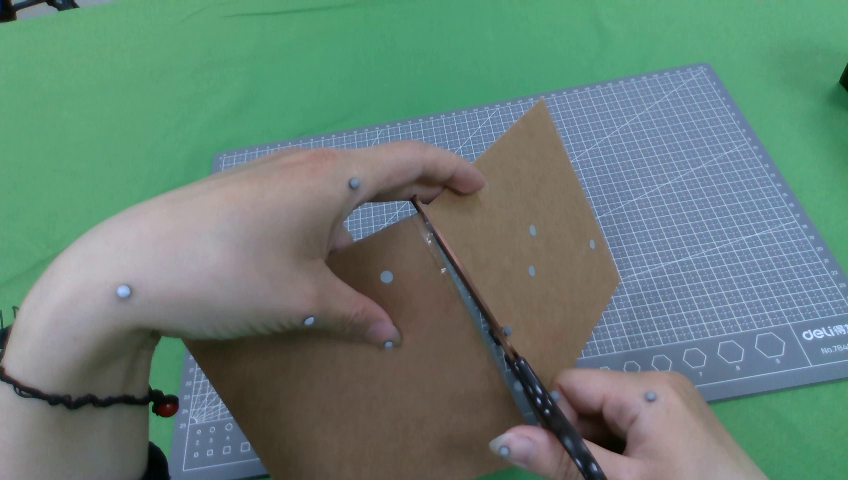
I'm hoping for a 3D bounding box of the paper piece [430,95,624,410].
[{"bbox_3d":[0.069,0.006,0.337,0.004,0.136,0.135,-10,27,43],"label":"paper piece"}]

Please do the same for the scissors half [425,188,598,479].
[{"bbox_3d":[0.042,0.054,0.267,0.013,0.040,0.175,-28,86,-5],"label":"scissors half"}]

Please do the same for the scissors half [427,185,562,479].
[{"bbox_3d":[0.041,0.052,0.287,0.013,0.176,0.040,-27,14,0],"label":"scissors half"}]

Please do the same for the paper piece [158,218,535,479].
[{"bbox_3d":[-0.033,0.076,0.302,0.138,0.137,0.008,-28,17,1],"label":"paper piece"}]
